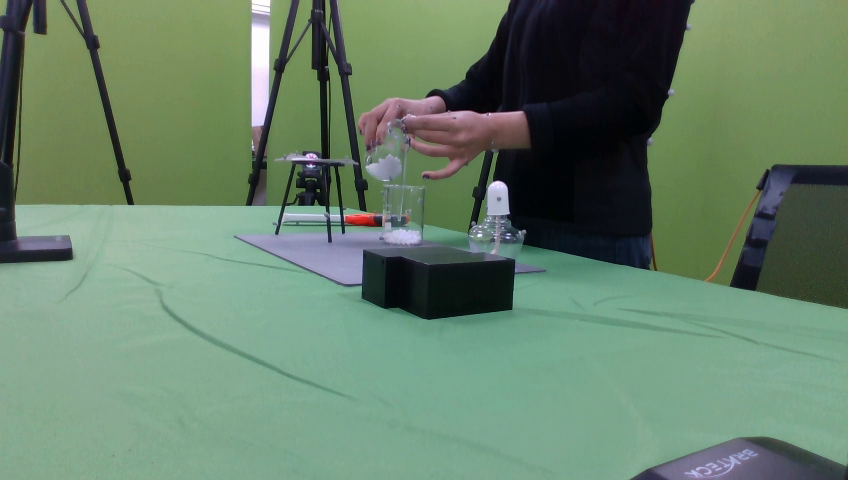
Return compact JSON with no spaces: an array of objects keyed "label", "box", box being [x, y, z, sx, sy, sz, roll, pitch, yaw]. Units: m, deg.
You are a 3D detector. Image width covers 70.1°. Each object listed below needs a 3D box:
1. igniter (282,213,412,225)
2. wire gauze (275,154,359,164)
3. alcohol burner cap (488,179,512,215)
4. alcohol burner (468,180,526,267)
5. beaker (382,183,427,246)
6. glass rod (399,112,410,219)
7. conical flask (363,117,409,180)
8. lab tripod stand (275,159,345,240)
[{"label":"igniter","box":[-0.159,-0.046,1.286,0.278,0.025,0.057,0,-3,-22]},{"label":"wire gauze","box":[-0.179,-0.137,1.028,0.121,0.011,0.125,4,8,0]},{"label":"alcohol burner cap","box":[0.101,-0.058,0.816,0.034,0.048,0.034,-5,9,1]},{"label":"alcohol burner","box":[0.101,-0.022,0.821,0.078,0.119,0.078,4,8,0]},{"label":"beaker","box":[-0.033,-0.044,1.007,0.074,0.100,0.084,6,7,22]},{"label":"glass rod","box":[-0.031,-0.116,0.980,0.008,0.199,0.008,4,37,-3]},{"label":"conical flask","box":[-0.060,-0.164,1.049,0.075,0.075,0.121,0,-25,-19]},{"label":"lab tripod stand","box":[-0.181,-0.072,1.039,0.148,0.131,0.148,4,8,0]}]
